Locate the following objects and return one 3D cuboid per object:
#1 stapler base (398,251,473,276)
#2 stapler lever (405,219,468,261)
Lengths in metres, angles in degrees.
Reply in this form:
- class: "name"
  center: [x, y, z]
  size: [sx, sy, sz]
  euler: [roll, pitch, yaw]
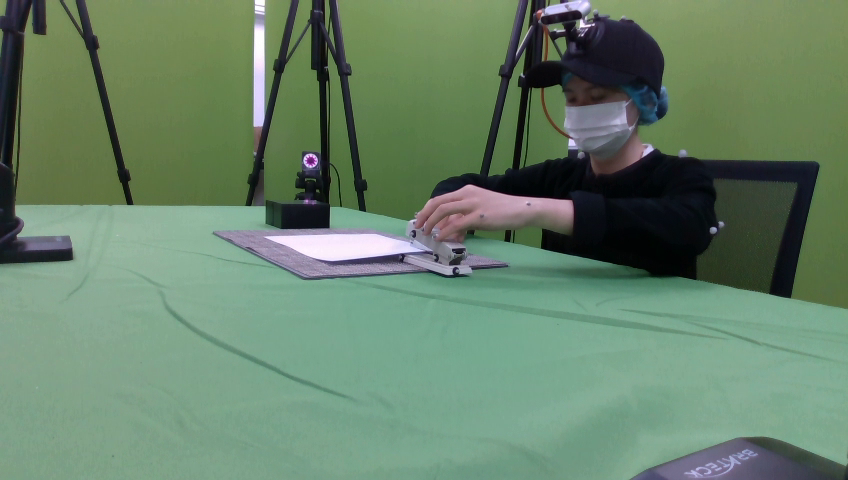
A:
- class: "stapler base"
  center: [0.012, 0.024, 0.796]
  size: [0.041, 0.024, 0.130]
  euler: [-5, 11, -33]
- class: "stapler lever"
  center: [0.014, -0.001, 0.792]
  size: [0.027, 0.040, 0.117]
  euler: [-5, 12, -33]
